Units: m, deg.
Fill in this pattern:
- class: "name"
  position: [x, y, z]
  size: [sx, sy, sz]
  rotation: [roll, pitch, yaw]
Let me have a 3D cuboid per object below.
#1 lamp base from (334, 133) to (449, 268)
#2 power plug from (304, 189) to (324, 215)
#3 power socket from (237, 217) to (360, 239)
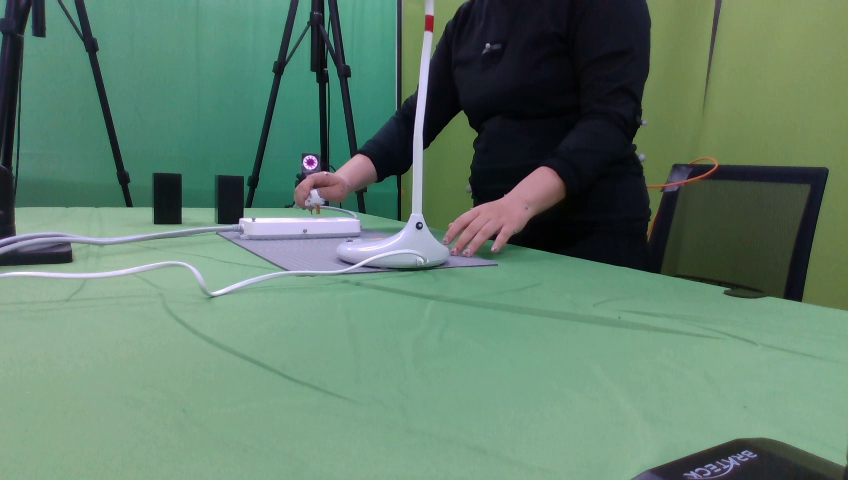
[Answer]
- class: "lamp base"
  position: [-0.034, -0.057, 0.831]
  size: [0.161, 0.180, 0.178]
  rotation: [-3, 12, -36]
- class: "power plug"
  position: [-0.205, -0.068, 1.129]
  size: [0.035, 0.052, 0.072]
  rotation: [-6, -6, -9]
- class: "power socket"
  position: [-0.220, -0.023, 1.079]
  size: [0.228, 0.032, 0.072]
  rotation: [-2, 8, -32]
